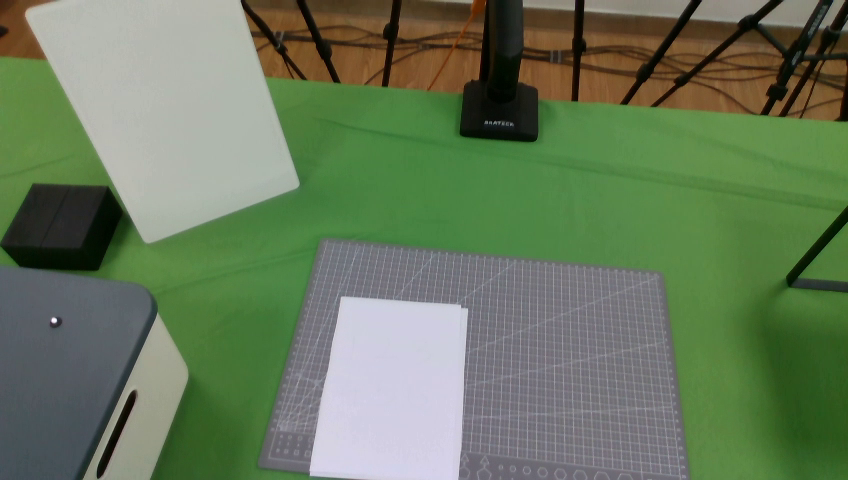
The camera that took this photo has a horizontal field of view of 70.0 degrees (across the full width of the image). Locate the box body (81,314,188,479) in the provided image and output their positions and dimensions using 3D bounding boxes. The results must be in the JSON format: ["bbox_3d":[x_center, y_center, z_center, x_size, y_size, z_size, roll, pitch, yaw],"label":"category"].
[{"bbox_3d":[-0.448,0.172,0.578,0.364,0.162,0.252,7,54,4],"label":"box body"}]

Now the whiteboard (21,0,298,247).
[{"bbox_3d":[-0.326,-0.186,0.791,0.217,0.308,0.142,-23,38,-16],"label":"whiteboard"}]

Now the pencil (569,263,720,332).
[{"bbox_3d":[0.270,0.068,0.756,0.193,0.012,0.012,25,57,20],"label":"pencil"}]

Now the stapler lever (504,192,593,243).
[{"bbox_3d":[0.162,-0.033,0.785,0.117,0.040,0.027,28,58,19],"label":"stapler lever"}]

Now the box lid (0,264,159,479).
[{"bbox_3d":[-0.448,0.127,0.518,0.371,0.015,0.261,7,53,3],"label":"box lid"}]

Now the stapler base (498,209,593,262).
[{"bbox_3d":[0.163,-0.017,0.806,0.130,0.024,0.041,29,58,18],"label":"stapler base"}]
